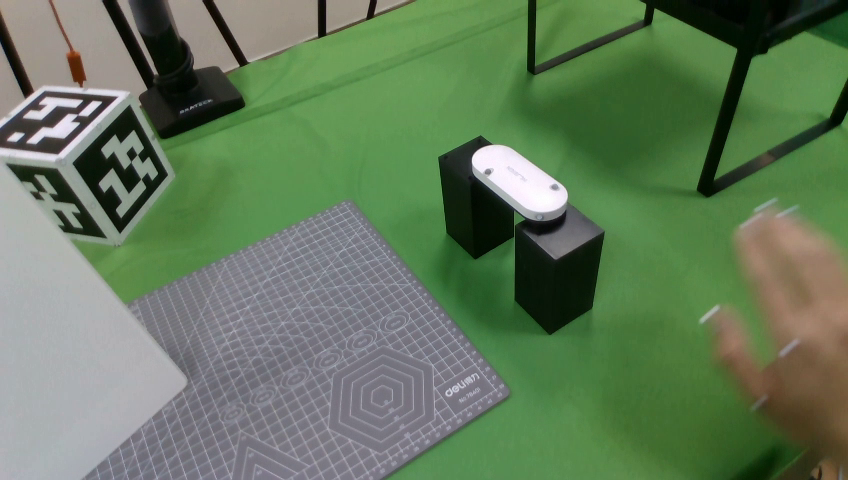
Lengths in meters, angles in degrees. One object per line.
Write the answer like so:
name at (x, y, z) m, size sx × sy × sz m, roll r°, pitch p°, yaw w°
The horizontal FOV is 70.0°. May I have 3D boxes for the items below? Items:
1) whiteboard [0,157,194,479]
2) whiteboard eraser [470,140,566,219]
whiteboard at (-0.368, 0.063, 0.444) m, size 0.142 × 0.308 × 0.217 m, roll 13°, pitch 48°, yaw 45°
whiteboard eraser at (0.077, -0.054, 0.510) m, size 0.041 × 0.019 × 0.100 m, roll -30°, pitch 51°, yaw -20°
